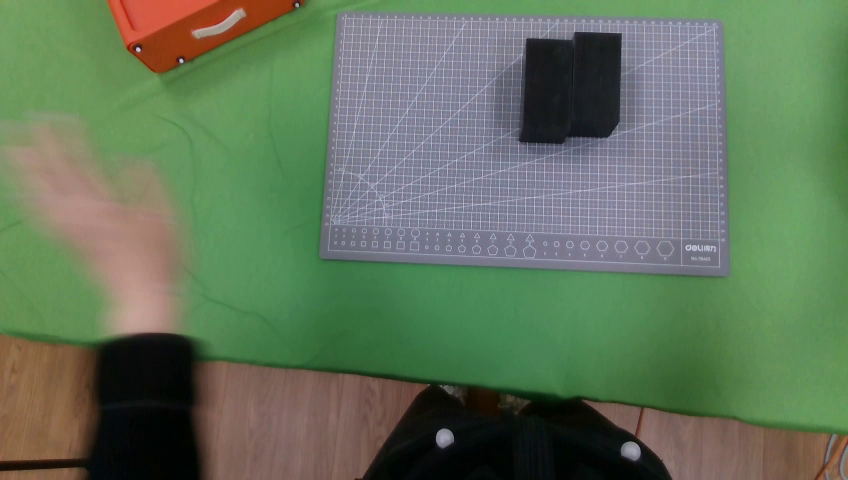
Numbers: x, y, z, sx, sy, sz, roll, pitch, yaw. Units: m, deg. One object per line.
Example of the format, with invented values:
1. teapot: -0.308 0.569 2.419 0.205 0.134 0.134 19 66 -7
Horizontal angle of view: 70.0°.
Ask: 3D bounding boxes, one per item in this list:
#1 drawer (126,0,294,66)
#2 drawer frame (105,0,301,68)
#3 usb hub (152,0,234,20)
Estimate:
1. drawer: -0.278 -0.340 0.701 0.194 0.073 0.211 -27 82 0
2. drawer frame: -0.279 -0.341 0.701 0.202 0.083 0.212 -28 80 -1
3. usb hub: -0.258 -0.301 0.709 0.125 0.025 0.049 -12 82 7
